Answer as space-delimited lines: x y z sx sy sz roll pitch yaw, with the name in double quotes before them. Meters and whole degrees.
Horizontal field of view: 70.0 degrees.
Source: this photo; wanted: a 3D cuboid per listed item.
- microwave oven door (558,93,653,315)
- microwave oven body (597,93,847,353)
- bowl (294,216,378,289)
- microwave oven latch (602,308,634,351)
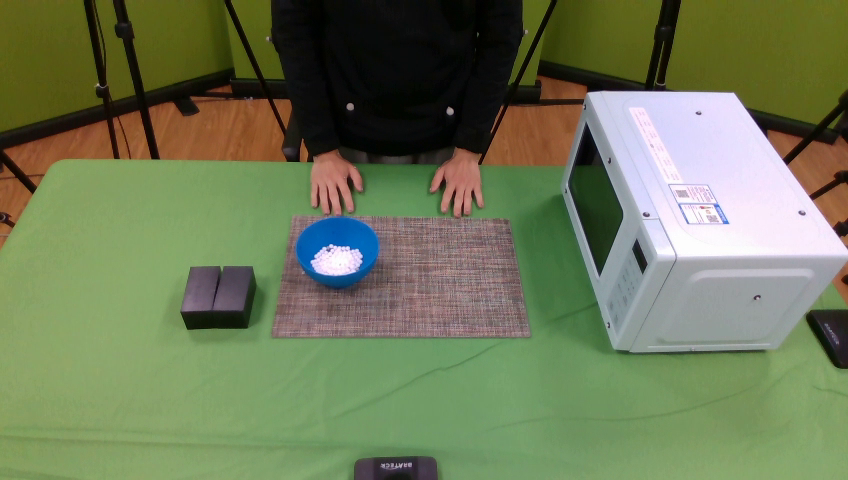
"microwave oven door" 0.327 -0.074 1.123 0.039 0.245 0.353 -1 46 -5
"microwave oven body" 0.475 -0.041 1.109 0.326 0.261 0.438 -1 45 -4
"bowl" -0.158 0.036 1.110 0.151 0.077 0.150 3 45 -2
"microwave oven latch" 0.331 0.153 1.044 0.030 0.029 0.078 -1 45 -4
